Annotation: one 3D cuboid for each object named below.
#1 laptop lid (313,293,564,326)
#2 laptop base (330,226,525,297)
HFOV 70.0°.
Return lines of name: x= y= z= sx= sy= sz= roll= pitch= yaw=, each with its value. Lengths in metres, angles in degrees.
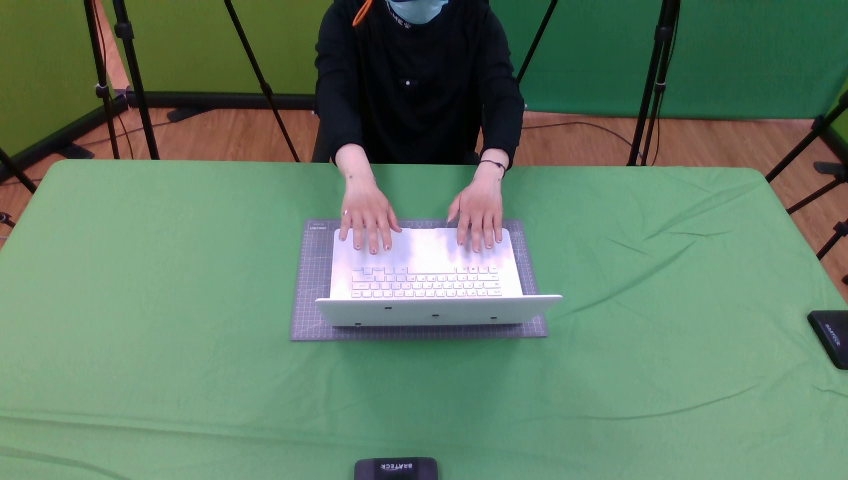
laptop lid: x=0.017 y=0.112 z=0.945 sx=0.357 sy=0.242 sz=0.013 roll=0 pitch=74 yaw=-5
laptop base: x=0.004 y=0.061 z=1.137 sx=0.355 sy=0.023 sz=0.234 roll=0 pitch=43 yaw=-4
